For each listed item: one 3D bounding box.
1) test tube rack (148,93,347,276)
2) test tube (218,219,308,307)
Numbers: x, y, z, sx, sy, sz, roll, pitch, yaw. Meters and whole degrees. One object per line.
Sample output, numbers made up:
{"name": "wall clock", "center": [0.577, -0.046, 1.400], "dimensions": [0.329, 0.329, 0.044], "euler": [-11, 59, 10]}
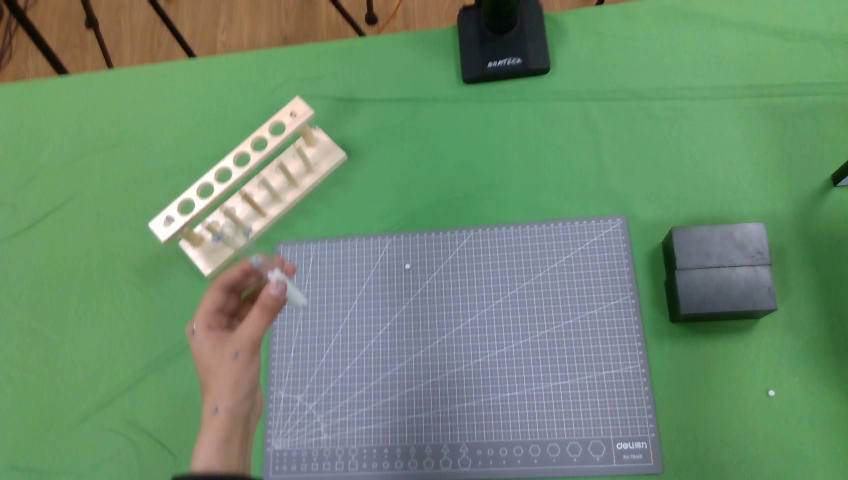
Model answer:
{"name": "test tube rack", "center": [-0.220, -0.069, 0.777], "dimensions": [0.242, 0.086, 0.066], "euler": [-43, 71, -7]}
{"name": "test tube", "center": [-0.131, 0.025, 0.513], "dimensions": [0.017, 0.151, 0.017], "euler": [-5, 62, 10]}
